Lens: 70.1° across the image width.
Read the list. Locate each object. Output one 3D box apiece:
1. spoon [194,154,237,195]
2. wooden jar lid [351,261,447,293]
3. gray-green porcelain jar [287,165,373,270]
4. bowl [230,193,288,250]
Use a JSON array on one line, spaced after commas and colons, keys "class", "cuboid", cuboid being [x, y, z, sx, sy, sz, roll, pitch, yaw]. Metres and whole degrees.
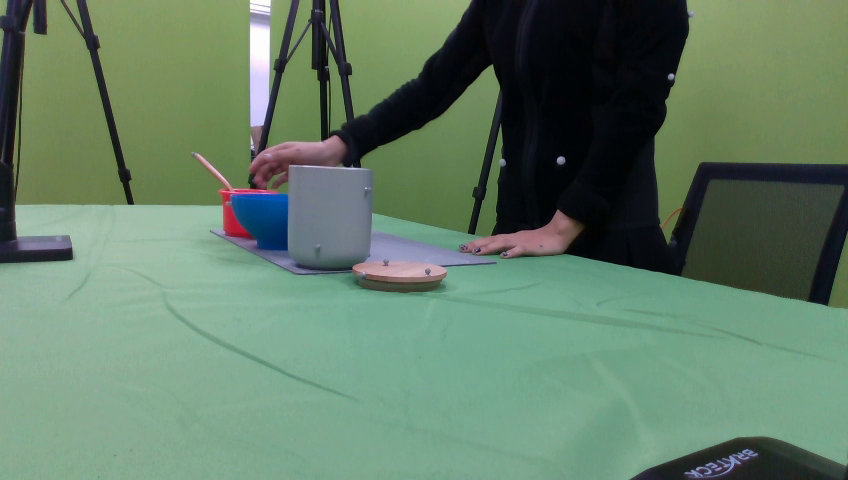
[{"class": "spoon", "cuboid": [-0.334, -0.083, 1.041, 0.193, 0.021, 0.042, 50, 23, 11]}, {"class": "wooden jar lid", "cuboid": [-0.028, 0.042, 0.686, 0.108, 0.020, 0.108, 3, 8, 0]}, {"class": "gray-green porcelain jar", "cuboid": [-0.119, -0.029, 0.767, 0.106, 0.126, 0.106, 2, 7, 0]}, {"class": "bowl", "cuboid": [-0.214, -0.028, 0.912, 0.151, 0.077, 0.151, 2, 8, 0]}]
